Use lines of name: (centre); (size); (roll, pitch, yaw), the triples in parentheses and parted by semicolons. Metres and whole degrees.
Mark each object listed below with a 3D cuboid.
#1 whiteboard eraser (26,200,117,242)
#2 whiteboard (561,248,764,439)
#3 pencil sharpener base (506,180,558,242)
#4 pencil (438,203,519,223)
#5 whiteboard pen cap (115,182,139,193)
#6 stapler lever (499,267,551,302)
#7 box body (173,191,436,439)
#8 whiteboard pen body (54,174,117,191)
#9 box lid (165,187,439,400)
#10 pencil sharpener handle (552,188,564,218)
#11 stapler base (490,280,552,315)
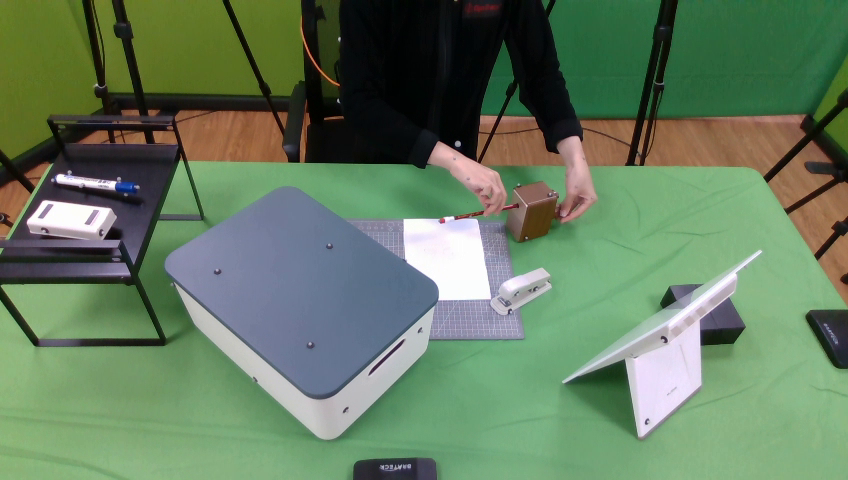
whiteboard eraser: (-0.532, -0.026, 0.919); (0.113, 0.042, 0.055); (7, 45, 3)
whiteboard: (0.386, 0.176, 0.905); (0.217, 0.306, 0.143); (-26, 72, -27)
pencil sharpener base: (0.216, -0.058, 1.211); (0.077, 0.107, 0.061); (-16, 49, -19)
pencil: (0.116, -0.054, 1.156); (0.194, 0.012, 0.012); (-12, 49, -20)
whiteboard pen cap: (-0.483, -0.086, 0.984); (0.033, 0.018, 0.018); (7, 46, 10)
stapler lever: (0.185, 0.076, 1.101); (0.118, 0.040, 0.026); (-25, 56, -29)
box body: (-0.191, 0.110, 0.979); (0.362, 0.161, 0.254); (33, 53, 24)
whiteboard pen body: (-0.541, -0.093, 0.993); (0.140, 0.017, 0.017); (7, 46, 9)
box lid: (-0.186, 0.060, 0.925); (0.370, 0.015, 0.263); (32, 53, 25)
pencil sharpener handle: (0.266, -0.077, 1.214); (0.031, 0.068, 0.036); (-16, 28, -19)
stapler base: (0.181, 0.094, 1.118); (0.130, 0.024, 0.041); (-24, 56, -29)
